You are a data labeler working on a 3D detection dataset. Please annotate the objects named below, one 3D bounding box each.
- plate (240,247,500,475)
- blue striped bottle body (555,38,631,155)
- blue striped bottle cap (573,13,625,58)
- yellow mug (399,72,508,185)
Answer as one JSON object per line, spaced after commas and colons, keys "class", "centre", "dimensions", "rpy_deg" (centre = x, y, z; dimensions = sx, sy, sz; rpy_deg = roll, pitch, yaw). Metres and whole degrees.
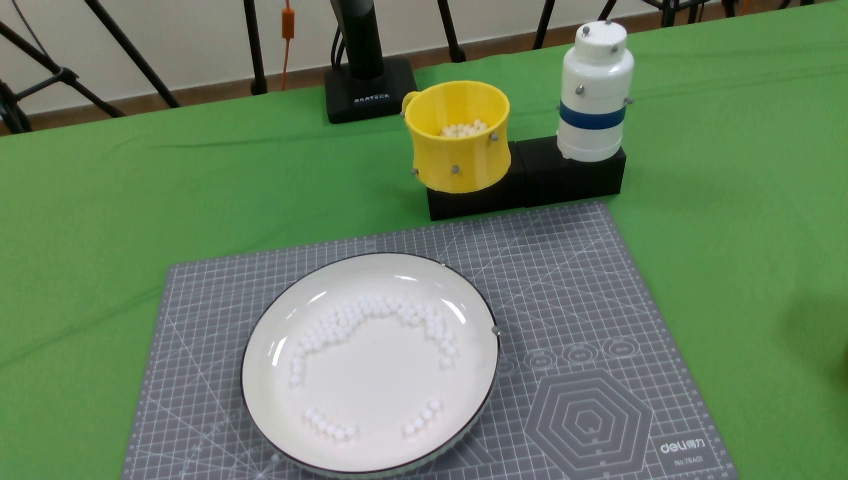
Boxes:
{"class": "plate", "centre": [-0.042, 0.093, 0.494], "dimensions": [0.207, 0.039, 0.205], "rpy_deg": [-3, 46, 4]}
{"class": "blue striped bottle body", "centre": [0.158, -0.146, 0.571], "dimensions": [0.063, 0.122, 0.062], "rpy_deg": [-4, 47, 4]}
{"class": "blue striped bottle cap", "centre": [0.154, -0.181, 0.533], "dimensions": [0.044, 0.021, 0.044], "rpy_deg": [-5, 45, 6]}
{"class": "yellow mug", "centre": [0.021, -0.117, 0.600], "dimensions": [0.129, 0.064, 0.100], "rpy_deg": [32, 57, 33]}
